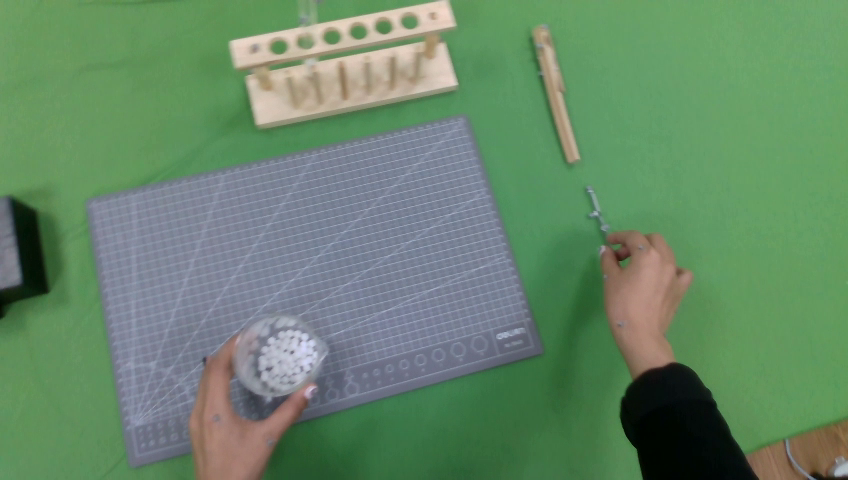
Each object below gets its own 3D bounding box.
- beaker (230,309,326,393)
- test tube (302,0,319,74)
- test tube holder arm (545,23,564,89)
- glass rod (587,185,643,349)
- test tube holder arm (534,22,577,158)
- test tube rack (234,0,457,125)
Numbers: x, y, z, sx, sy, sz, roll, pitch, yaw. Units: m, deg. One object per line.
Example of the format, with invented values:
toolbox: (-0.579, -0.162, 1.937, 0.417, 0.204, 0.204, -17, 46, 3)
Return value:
beaker: (-0.135, 0.110, 0.587, 0.084, 0.100, 0.073, -5, 77, -7)
test tube: (-0.121, -0.224, 0.649, 0.017, 0.151, 0.017, 3, 72, -9)
test tube holder arm: (0.158, -0.228, 0.753, 0.010, 0.015, 0.087, 0, 74, -34)
glass rod: (0.219, 0.029, 0.699, 0.008, 0.008, 0.198, -12, 77, -7)
test tube holder arm: (0.161, -0.184, 0.739, 0.013, 0.015, 0.177, -1, 75, -34)
test tube rack: (-0.083, -0.204, 0.698, 0.242, 0.085, 0.066, -13, 77, -7)
